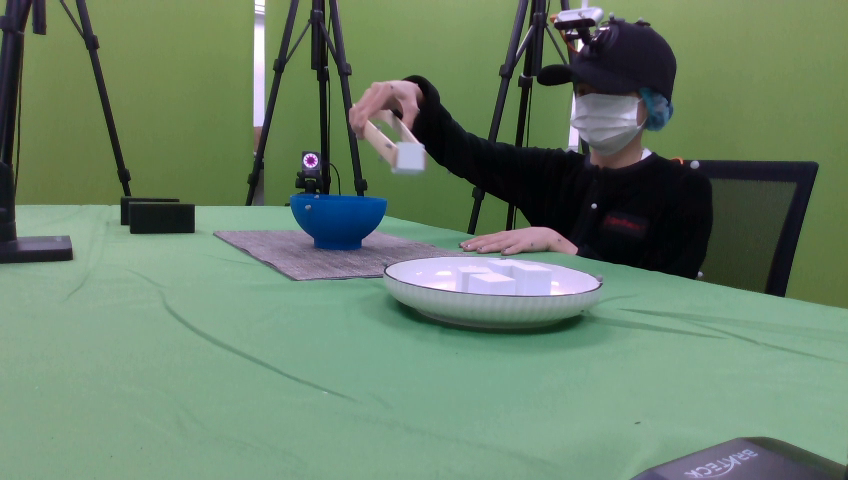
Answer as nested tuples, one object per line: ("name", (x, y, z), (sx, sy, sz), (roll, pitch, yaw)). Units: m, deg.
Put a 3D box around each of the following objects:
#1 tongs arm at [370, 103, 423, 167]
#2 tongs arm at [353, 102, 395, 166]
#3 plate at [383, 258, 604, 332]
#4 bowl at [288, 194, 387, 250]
("tongs arm", (-0.043, -0.162, 0.886), (0.028, 0.028, 0.386), (-3, 20, -11))
("tongs arm", (-0.066, -0.163, 0.881), (0.051, 0.026, 0.383), (-1, 20, -16))
("plate", (0.064, 0.051, 0.582), (0.209, 0.038, 0.209), (3, 7, 0))
("bowl", (-0.135, -0.027, 0.936), (0.151, 0.077, 0.151), (3, 7, 0))
